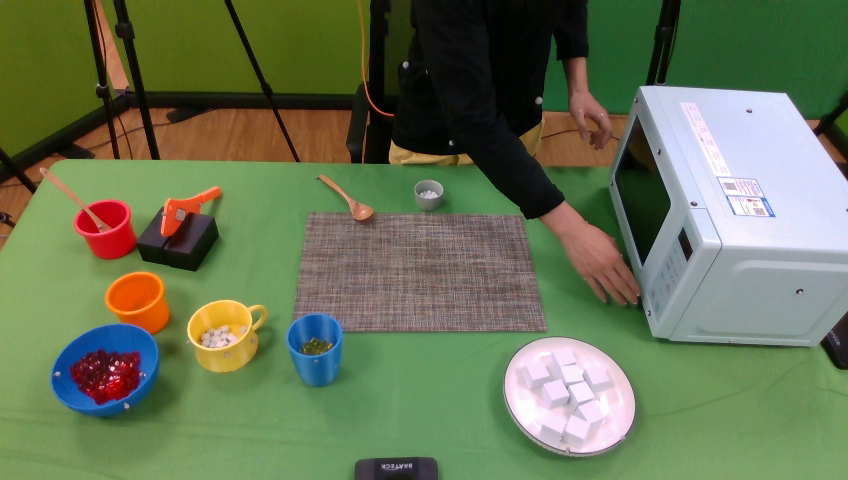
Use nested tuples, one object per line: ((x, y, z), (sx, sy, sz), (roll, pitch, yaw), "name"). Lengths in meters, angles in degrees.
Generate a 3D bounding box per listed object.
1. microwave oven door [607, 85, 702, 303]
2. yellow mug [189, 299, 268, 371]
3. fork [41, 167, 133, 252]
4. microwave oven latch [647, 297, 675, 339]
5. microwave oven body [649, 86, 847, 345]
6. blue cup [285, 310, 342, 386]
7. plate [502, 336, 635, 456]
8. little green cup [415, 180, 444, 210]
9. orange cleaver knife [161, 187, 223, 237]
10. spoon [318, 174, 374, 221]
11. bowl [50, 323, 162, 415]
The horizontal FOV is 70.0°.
((0.423, -0.094, 1.141), (0.039, 0.245, 0.353), (2, 46, -1), "microwave oven door")
((-0.316, 0.148, 1.002), (0.131, 0.064, 0.099), (-33, 56, -31), "yellow mug")
((-0.624, -0.056, 1.121), (0.208, 0.018, 0.028), (49, 52, -15), "fork")
((0.413, 0.134, 1.061), (0.030, 0.029, 0.078), (5, 45, 2), "microwave oven latch")
((0.568, -0.053, 1.118), (0.326, 0.261, 0.439), (2, 45, -1), "microwave oven body")
((-0.170, 0.179, 0.958), (0.093, 0.101, 0.092), (1, 44, -1), "blue cup")
((0.225, 0.248, 0.963), (0.208, 0.039, 0.206), (2, 46, -2), "plate")
((0.011, -0.094, 1.278), (0.061, 0.039, 0.061), (2, 48, -2), "little green cup")
((-0.448, -0.058, 1.181), (0.012, 0.077, 0.211), (13, 17, 6), "orange cleaver knife")
((-0.168, -0.095, 1.274), (0.041, 0.022, 0.192), (-38, 56, -15), "spoon")
((-0.472, 0.209, 0.924), (0.151, 0.077, 0.150), (2, 45, -2), "bowl")
